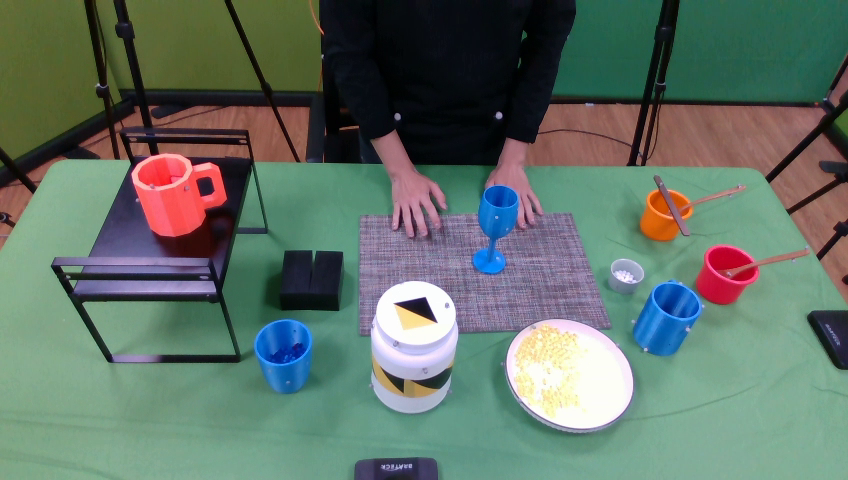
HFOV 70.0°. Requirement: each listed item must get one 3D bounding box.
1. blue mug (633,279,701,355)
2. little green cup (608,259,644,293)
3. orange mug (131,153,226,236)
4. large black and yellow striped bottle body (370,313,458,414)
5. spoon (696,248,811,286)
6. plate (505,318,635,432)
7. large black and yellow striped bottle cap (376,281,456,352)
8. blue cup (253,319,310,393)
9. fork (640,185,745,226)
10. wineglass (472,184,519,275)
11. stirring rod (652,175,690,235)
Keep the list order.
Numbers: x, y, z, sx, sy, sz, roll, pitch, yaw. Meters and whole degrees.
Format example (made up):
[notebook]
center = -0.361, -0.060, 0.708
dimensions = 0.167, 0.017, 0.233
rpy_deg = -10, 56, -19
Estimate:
[blue mug]
center = 0.419, 0.124, 1.052
dimensions = 0.082, 0.106, 0.116
rpy_deg = 14, 46, 9
[little green cup]
center = 0.379, 0.070, 1.147
dimensions = 0.061, 0.039, 0.061
rpy_deg = 3, 45, -2
[orange mug]
center = -0.375, -0.075, 0.937
dimensions = 0.126, 0.101, 0.083
rpy_deg = -20, 50, -17
[large black and yellow striped bottle body]
center = -0.017, 0.165, 0.924
dimensions = 0.131, 0.185, 0.130
rpy_deg = 2, 46, -2
[spoon]
center = 0.601, 0.048, 1.112
dimensions = 0.193, 0.022, 0.041
rpy_deg = -25, 31, 35
[plate]
center = 0.235, 0.221, 0.991
dimensions = 0.209, 0.038, 0.208
rpy_deg = 2, 45, -2
[large black and yellow striped bottle cap]
center = -0.011, 0.107, 0.863
dimensions = 0.115, 0.019, 0.114
rpy_deg = 2, 47, -2
[blue cup]
center = -0.217, 0.187, 0.943
dimensions = 0.093, 0.101, 0.092
rpy_deg = 3, 45, -3
[fork]
center = 0.534, -0.069, 1.215
dimensions = 0.207, 0.019, 0.028
rpy_deg = -26, 27, 33
[wineglass]
center = 0.129, -0.018, 1.113
dimensions = 0.074, 0.173, 0.073
rpy_deg = 2, 46, -2
[stirring rod]
center = 0.491, -0.072, 1.211
dimensions = 0.014, 0.006, 0.175
rpy_deg = -1, 46, -6
